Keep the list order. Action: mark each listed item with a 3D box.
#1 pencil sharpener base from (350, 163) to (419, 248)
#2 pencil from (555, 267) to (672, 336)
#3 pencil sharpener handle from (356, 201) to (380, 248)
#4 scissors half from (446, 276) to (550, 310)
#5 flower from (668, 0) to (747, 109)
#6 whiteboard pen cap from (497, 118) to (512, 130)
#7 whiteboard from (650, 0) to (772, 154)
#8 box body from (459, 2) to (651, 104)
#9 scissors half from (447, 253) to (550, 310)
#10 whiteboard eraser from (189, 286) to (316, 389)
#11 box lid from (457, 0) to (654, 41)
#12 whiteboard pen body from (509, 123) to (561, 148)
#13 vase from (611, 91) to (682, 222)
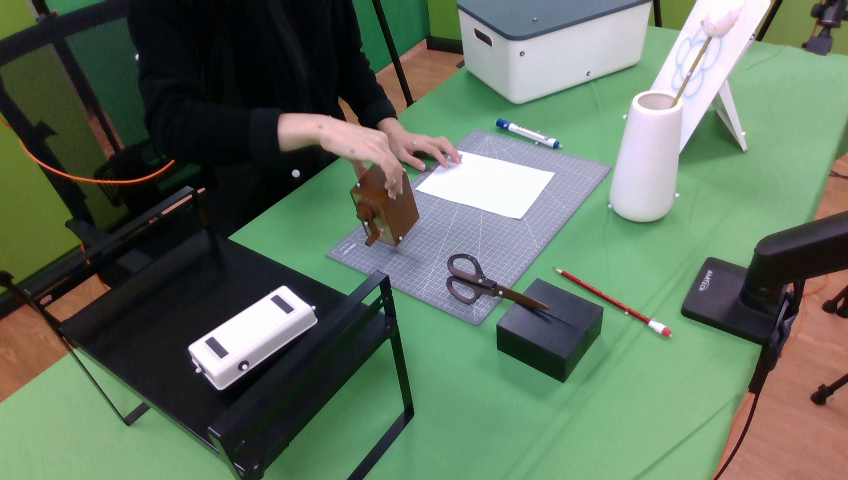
[{"bbox_3d":[-0.059,-0.049,0.915,0.061,0.107,0.077,19,55,28],"label":"pencil sharpener base"},{"bbox_3d":[0.260,0.082,0.850,0.012,0.012,0.192,-33,46,-27],"label":"pencil"},{"bbox_3d":[-0.085,-0.021,0.878,0.035,0.068,0.030,11,51,36],"label":"pencil sharpener handle"},{"bbox_3d":[0.098,0.077,0.827,0.174,0.040,0.013,6,14,44],"label":"scissors half"},{"bbox_3d":[0.354,-0.187,0.879,0.038,0.362,0.044,30,48,14],"label":"flower"},{"bbox_3d":[0.165,-0.235,1.227,0.033,0.018,0.018,31,53,31],"label":"whiteboard pen cap"},{"bbox_3d":[0.543,-0.298,1.076,0.144,0.305,0.216,12,40,-7],"label":"whiteboard"},{"bbox_3d":[0.291,-0.465,1.371,0.365,0.161,0.252,-22,42,-16],"label":"box body"},{"bbox_3d":[0.098,0.058,0.821,0.173,0.040,0.013,27,33,37],"label":"scissors half"},{"bbox_3d":[-0.166,0.096,0.593,0.113,0.042,0.055,-36,47,-29],"label":"whiteboard eraser"},{"bbox_3d":[0.285,-0.522,1.323,0.373,0.015,0.261,-22,43,-16],"label":"box lid"},{"bbox_3d":[0.208,-0.211,1.196,0.139,0.017,0.017,30,52,33],"label":"whiteboard pen body"},{"bbox_3d":[0.348,-0.125,0.935,0.098,0.201,0.097,-3,40,3],"label":"vase"}]
